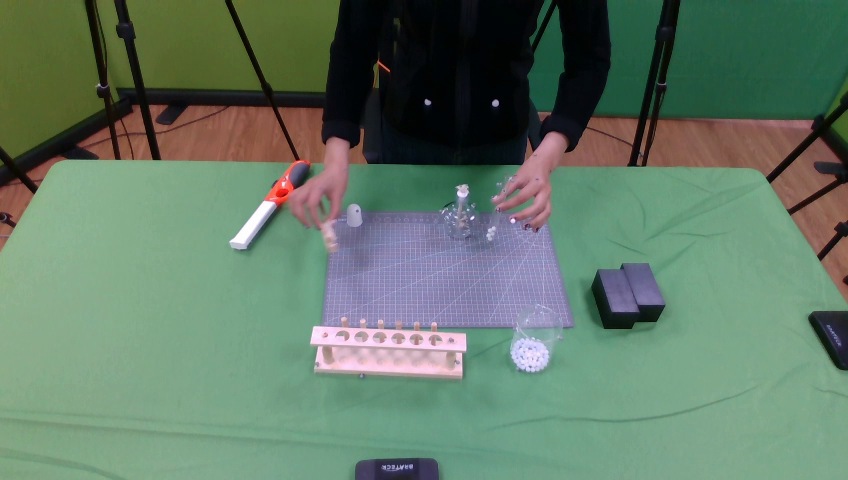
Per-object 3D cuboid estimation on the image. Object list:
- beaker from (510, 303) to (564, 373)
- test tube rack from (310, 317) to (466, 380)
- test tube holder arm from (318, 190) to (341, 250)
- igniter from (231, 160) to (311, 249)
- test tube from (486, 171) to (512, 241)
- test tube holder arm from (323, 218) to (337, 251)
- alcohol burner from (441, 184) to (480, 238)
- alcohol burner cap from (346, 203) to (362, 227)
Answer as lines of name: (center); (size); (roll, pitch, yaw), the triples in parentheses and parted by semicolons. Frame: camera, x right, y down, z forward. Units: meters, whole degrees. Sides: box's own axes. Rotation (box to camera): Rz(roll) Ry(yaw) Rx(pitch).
beaker: (0.182, 0.164, 1.000); (0.074, 0.101, 0.083); (2, 46, -1)
test tube rack: (-0.056, 0.171, 0.987); (0.242, 0.085, 0.066); (3, 45, -1)
test tube holder arm: (-0.174, -0.039, 1.109); (0.013, 0.015, 0.177); (-8, 38, -15)
igniter: (-0.311, -0.081, 1.250); (0.057, 0.025, 0.275); (9, 45, 18)
test tube: (0.129, -0.056, 1.056); (0.017, 0.151, 0.017); (6, 42, -5)
test tube holder arm: (-0.166, -0.012, 1.074); (0.010, 0.015, 0.087); (-9, 39, -16)
alcohol burner: (0.073, -0.062, 1.195); (0.078, 0.120, 0.077); (1, 47, -1)
alcohol burner cap: (-0.142, -0.053, 1.222); (0.034, 0.048, 0.033); (2, 47, -2)
